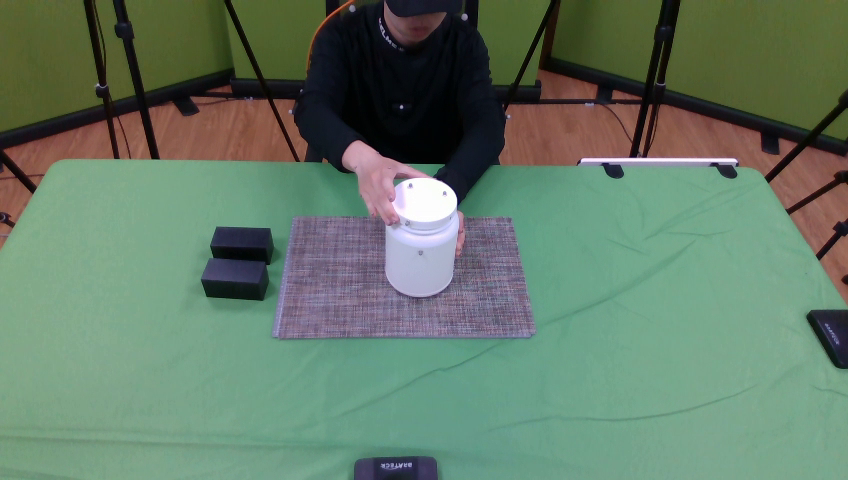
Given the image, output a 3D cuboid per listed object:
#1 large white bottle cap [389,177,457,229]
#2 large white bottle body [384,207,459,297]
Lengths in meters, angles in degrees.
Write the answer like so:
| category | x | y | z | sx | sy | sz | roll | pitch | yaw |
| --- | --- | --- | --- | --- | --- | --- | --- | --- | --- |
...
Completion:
| category | x | y | z | sx | sy | sz | roll | pitch | yaw |
| --- | --- | --- | --- | --- | --- | --- | --- | --- | --- |
| large white bottle cap | -0.002 | -0.064 | 1.018 | 0.115 | 0.018 | 0.114 | 2 | 46 | -2 |
| large white bottle body | -0.006 | -0.002 | 1.081 | 0.131 | 0.185 | 0.130 | 2 | 46 | -2 |
